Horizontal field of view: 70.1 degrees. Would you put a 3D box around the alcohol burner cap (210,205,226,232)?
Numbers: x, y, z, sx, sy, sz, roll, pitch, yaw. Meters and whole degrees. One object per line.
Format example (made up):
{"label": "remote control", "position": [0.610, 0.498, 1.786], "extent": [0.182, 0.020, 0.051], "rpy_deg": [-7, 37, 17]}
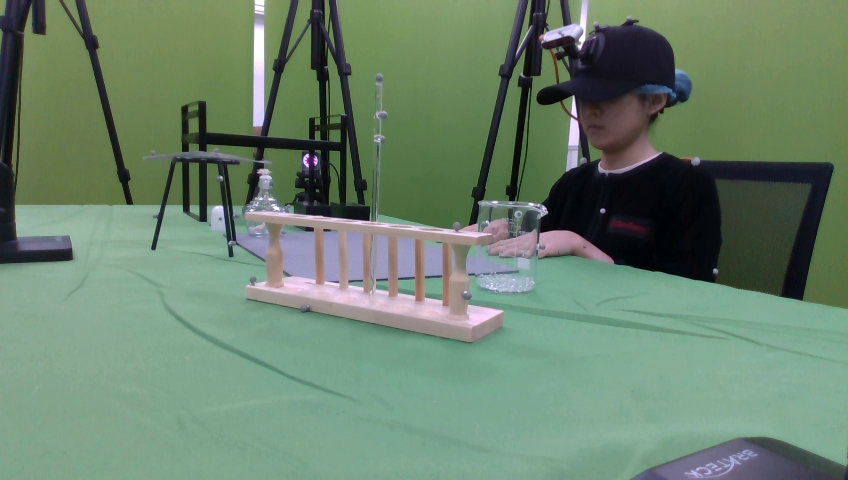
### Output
{"label": "alcohol burner cap", "position": [-0.376, -0.040, 1.107], "extent": [0.034, 0.048, 0.034], "rpy_deg": [2, 7, 0]}

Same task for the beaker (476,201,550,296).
{"label": "beaker", "position": [0.098, 0.009, 0.680], "extent": [0.083, 0.100, 0.074], "rpy_deg": [8, 9, 32]}

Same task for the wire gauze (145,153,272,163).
{"label": "wire gauze", "position": [-0.303, -0.117, 0.854], "extent": [0.121, 0.011, 0.126], "rpy_deg": [7, 7, 34]}

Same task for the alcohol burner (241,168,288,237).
{"label": "alcohol burner", "position": [-0.272, -0.064, 1.036], "extent": [0.078, 0.119, 0.078], "rpy_deg": [4, 5, 0]}

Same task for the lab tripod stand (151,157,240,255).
{"label": "lab tripod stand", "position": [-0.310, -0.052, 0.866], "extent": [0.148, 0.131, 0.148], "rpy_deg": [2, 6, 0]}

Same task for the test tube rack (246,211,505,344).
{"label": "test tube rack", "position": [-0.049, 0.025, 0.547], "extent": [0.241, 0.085, 0.067], "rpy_deg": [7, 8, 29]}

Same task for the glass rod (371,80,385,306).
{"label": "glass rod", "position": [-0.040, -0.039, 0.530], "extent": [0.008, 0.199, 0.008], "rpy_deg": [2, 2, 0]}
